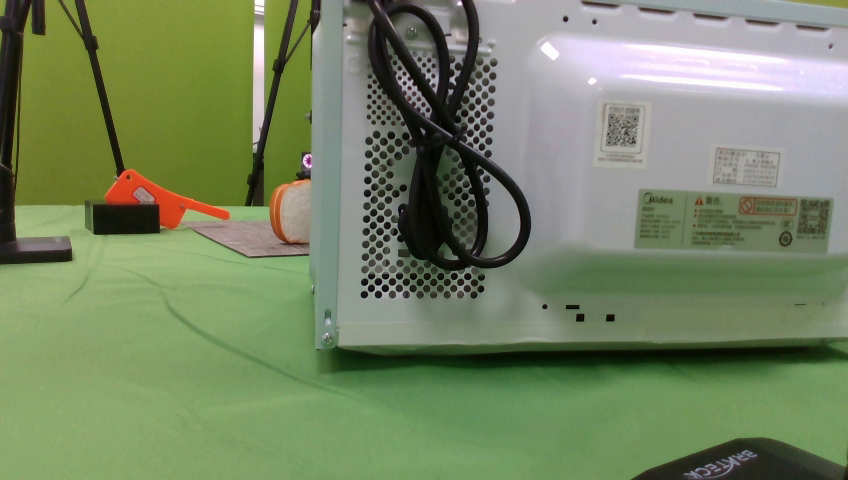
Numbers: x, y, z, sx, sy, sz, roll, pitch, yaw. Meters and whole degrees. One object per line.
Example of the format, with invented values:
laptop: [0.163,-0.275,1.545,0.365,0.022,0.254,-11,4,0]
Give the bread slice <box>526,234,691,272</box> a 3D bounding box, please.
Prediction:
bread slice: [0.176,0.011,0.564,0.134,0.018,0.107,-5,6,27]

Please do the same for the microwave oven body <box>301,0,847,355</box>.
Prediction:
microwave oven body: [0.120,-0.053,0.535,0.443,0.260,0.325,2,7,-11]

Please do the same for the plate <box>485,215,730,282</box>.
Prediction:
plate: [0.160,0.006,0.544,0.208,0.039,0.207,-3,7,1]

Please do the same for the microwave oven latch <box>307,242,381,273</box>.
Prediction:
microwave oven latch: [-0.086,0.019,0.655,0.079,0.029,0.030,2,7,-10]

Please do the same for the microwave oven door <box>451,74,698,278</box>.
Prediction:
microwave oven door: [0.183,-0.094,0.835,0.354,0.243,0.039,10,10,44]

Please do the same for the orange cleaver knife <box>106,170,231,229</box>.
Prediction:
orange cleaver knife: [-0.458,-0.060,1.097,0.212,0.077,0.012,23,-4,-38]
